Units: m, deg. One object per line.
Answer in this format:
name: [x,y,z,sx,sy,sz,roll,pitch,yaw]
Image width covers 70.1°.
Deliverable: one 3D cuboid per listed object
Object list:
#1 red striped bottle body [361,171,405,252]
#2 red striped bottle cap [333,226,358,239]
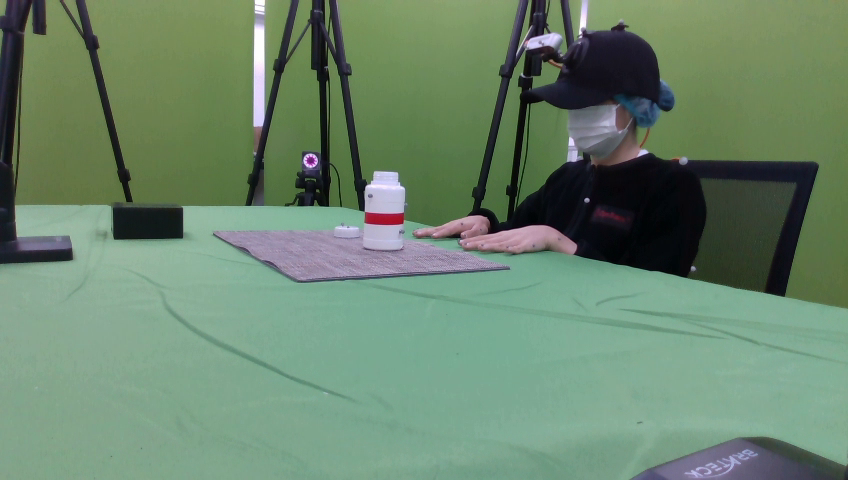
red striped bottle body: [-0.062,-0.045,0.933,0.063,0.119,0.063,4,8,0]
red striped bottle cap: [-0.139,-0.013,1.069,0.044,0.017,0.044,0,9,0]
